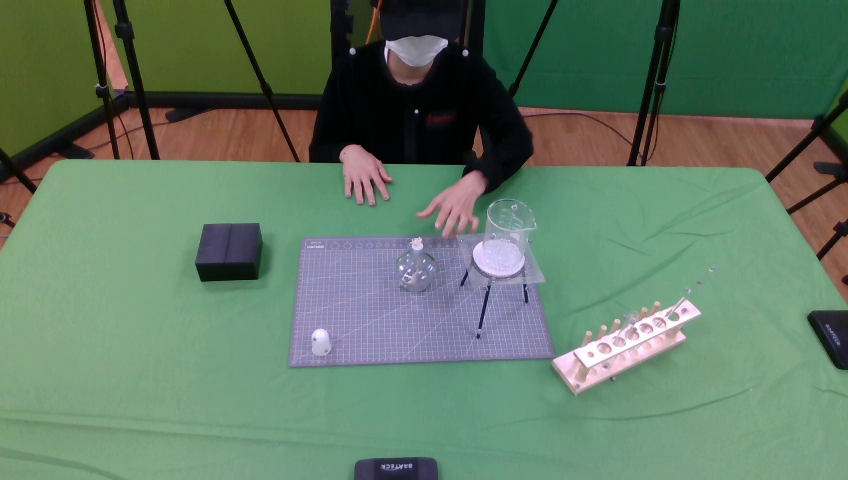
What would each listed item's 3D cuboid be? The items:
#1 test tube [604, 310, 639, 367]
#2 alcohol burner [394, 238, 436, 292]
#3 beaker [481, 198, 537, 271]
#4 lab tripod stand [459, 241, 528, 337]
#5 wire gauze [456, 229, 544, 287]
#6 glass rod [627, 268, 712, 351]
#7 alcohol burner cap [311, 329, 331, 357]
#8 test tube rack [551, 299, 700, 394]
[{"bbox_3d":[0.310,0.158,0.957,0.017,0.151,0.017,1,49,-1],"label":"test tube"},{"bbox_3d":[-0.016,0.038,1.093,0.078,0.119,0.077,2,48,-2],"label":"alcohol burner"},{"bbox_3d":[0.133,-0.005,0.974,0.084,0.101,0.074,23,49,16],"label":"beaker"},{"bbox_3d":[0.122,0.075,1.054,0.148,0.132,0.147,3,44,-3],"label":"lab tripod stand"},{"bbox_3d":[0.125,0.030,1.008,0.125,0.011,0.120,-3,48,-11],"label":"wire gauze"},{"bbox_3d":[0.399,0.117,0.995,0.008,0.200,0.008,26,29,-15],"label":"glass rod"},{"bbox_3d":[-0.173,0.168,1.004,0.034,0.048,0.033,2,46,-2],"label":"alcohol burner cap"},{"bbox_3d":[0.339,0.166,1.021,0.242,0.085,0.066,-19,50,-21],"label":"test tube rack"}]
